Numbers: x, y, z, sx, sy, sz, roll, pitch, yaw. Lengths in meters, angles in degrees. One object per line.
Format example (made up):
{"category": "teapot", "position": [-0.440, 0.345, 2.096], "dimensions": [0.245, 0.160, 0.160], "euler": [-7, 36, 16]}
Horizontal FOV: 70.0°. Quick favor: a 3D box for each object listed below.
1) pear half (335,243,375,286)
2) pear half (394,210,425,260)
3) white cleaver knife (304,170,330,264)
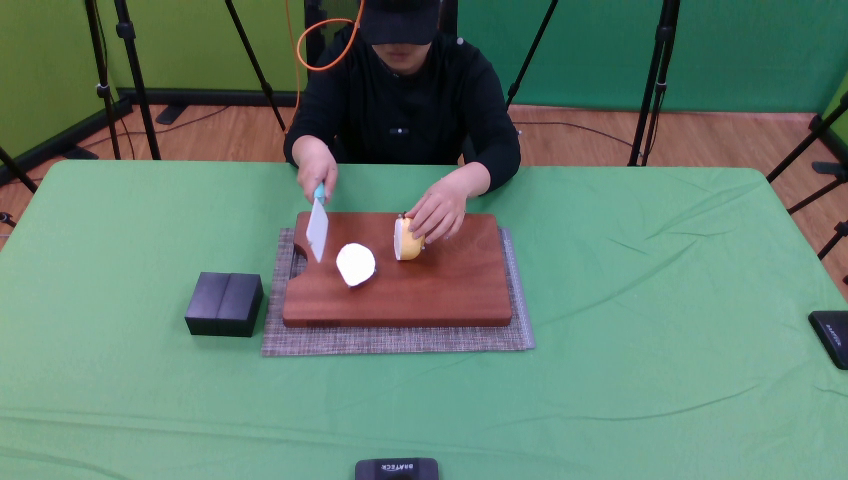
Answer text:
{"category": "pear half", "position": [-0.127, 0.050, 1.093], "dimensions": [0.070, 0.031, 0.087], "euler": [17, 58, -8]}
{"category": "pear half", "position": [-0.025, -0.014, 1.110], "dimensions": [0.056, 0.110, 0.076], "euler": [-9, 51, -14]}
{"category": "white cleaver knife", "position": [-0.188, -0.048, 1.075], "dimensions": [0.021, 0.066, 0.285], "euler": [-12, 29, 4]}
